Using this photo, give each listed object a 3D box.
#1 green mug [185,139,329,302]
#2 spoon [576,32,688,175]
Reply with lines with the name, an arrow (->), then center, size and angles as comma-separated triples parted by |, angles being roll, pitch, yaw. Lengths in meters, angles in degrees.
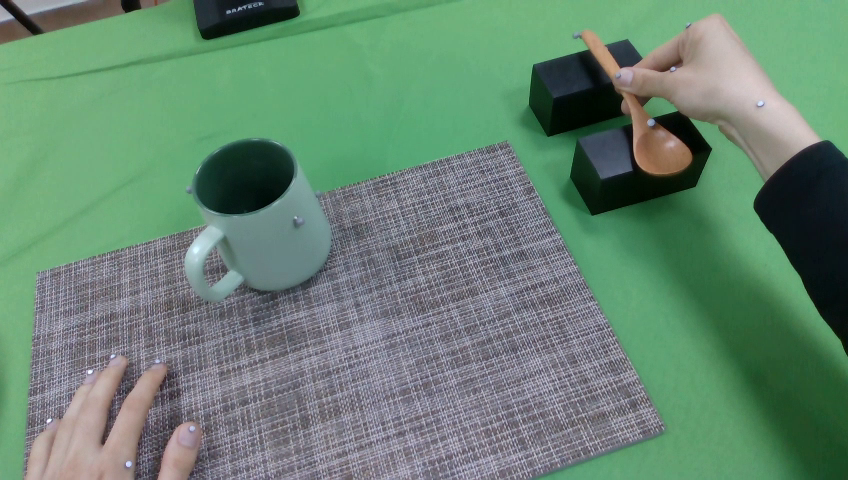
green mug -> -0.139, -0.005, 0.484 | 0.092, 0.106, 0.125 | 24, 61, 19
spoon -> 0.174, -0.126, 0.531 | 0.041, 0.022, 0.191 | -18, 58, 4
